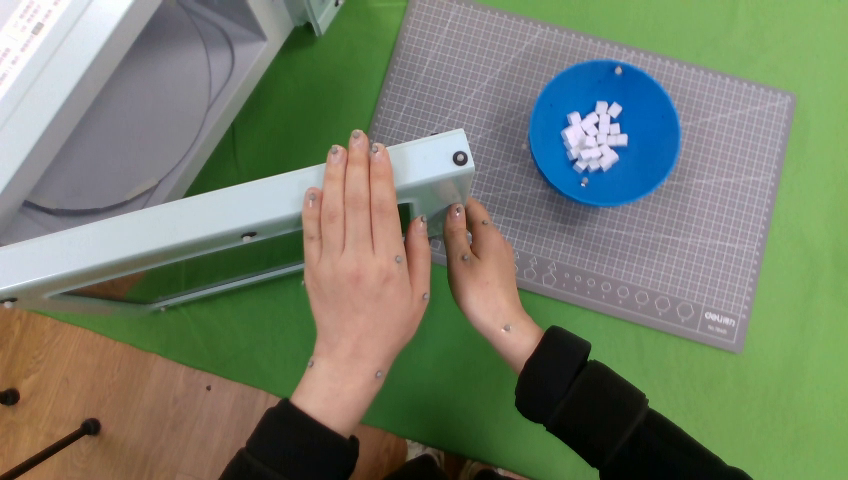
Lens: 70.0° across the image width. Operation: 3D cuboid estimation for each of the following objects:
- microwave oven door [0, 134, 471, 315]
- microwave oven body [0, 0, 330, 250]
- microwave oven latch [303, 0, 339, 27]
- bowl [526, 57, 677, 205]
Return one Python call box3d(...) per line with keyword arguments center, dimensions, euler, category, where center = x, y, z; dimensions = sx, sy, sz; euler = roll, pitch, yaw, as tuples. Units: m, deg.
box3d(center=(-0.140, -0.002, 0.519), dimensions=(0.356, 0.244, 0.039), euler=(-15, 81, -3), category="microwave oven door")
box3d(center=(-0.321, -0.213, 0.552), dimensions=(0.326, 0.261, 0.441), euler=(30, 84, 3), category="microwave oven body")
box3d(center=(-0.103, -0.274, 0.660), dimensions=(0.030, 0.029, 0.079), euler=(33, 84, 4), category="microwave oven latch")
box3d(center=(0.176, -0.103, 0.634), dimensions=(0.151, 0.077, 0.151), euler=(0, 82, 0), category="bowl")
